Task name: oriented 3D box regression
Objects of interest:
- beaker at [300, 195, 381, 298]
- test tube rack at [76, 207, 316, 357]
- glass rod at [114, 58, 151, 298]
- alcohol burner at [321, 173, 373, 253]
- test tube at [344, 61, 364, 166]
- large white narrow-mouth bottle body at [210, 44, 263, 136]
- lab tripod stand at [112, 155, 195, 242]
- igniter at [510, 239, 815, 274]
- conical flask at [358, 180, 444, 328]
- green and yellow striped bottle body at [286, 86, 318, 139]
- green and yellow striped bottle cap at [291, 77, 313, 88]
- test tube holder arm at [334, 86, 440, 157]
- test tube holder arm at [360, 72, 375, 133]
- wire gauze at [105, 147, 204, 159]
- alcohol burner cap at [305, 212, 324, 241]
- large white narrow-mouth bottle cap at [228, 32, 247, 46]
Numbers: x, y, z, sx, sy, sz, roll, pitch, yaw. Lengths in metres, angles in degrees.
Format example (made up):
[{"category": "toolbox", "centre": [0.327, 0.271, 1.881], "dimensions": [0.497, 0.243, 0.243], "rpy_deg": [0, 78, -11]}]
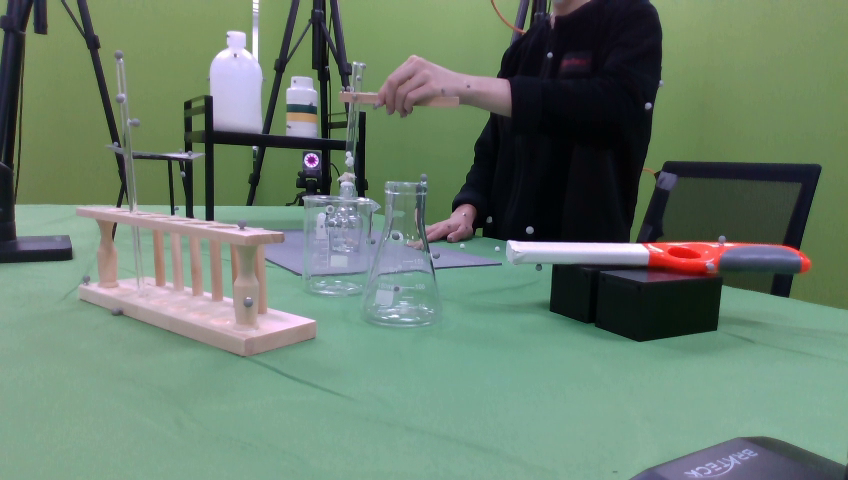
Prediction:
[{"category": "beaker", "centre": [-0.087, 0.006, 0.626], "dimensions": [0.084, 0.100, 0.074], "rpy_deg": [1, 8, -17]}, {"category": "test tube rack", "centre": [-0.196, 0.023, 0.500], "dimensions": [0.241, 0.085, 0.067], "rpy_deg": [8, 9, 36]}, {"category": "glass rod", "centre": [-0.236, -0.044, 0.493], "dimensions": [0.008, 0.199, 0.008], "rpy_deg": [1, 16, 0]}, {"category": "alcohol burner", "centre": [-0.115, -0.041, 0.905], "dimensions": [0.078, 0.119, 0.078], "rpy_deg": [1, 6, 0]}, {"category": "test tube", "centre": [-0.101, -0.179, 0.867], "dimensions": [0.017, 0.150, 0.017], "rpy_deg": [8, 21, -3]}, {"category": "large white narrow-mouth bottle body", "centre": [-0.369, -0.305, 1.194], "dimensions": [0.102, 0.194, 0.102], "rpy_deg": [3, 8, 0]}, {"category": "lab tripod stand", "centre": [-0.405, -0.064, 0.931], "dimensions": [0.148, 0.131, 0.148], "rpy_deg": [1, 6, 0]}, {"category": "igniter", "centre": [0.220, 0.015, 0.565], "dimensions": [0.277, 0.025, 0.057], "rpy_deg": [2, 16, -1]}, {"category": "conical flask", "centre": [-0.017, 0.010, 0.522], "dimensions": [0.075, 0.122, 0.075], "rpy_deg": [3, 7, 0]}, {"category": "green and yellow striped bottle body", "centre": [-0.251, -0.270, 1.245], "dimensions": [0.063, 0.119, 0.063], "rpy_deg": [2, 7, 0]}, {"category": "green and yellow striped bottle cap", "centre": [-0.250, -0.321, 1.237], "dimensions": [0.045, 0.020, 0.045], "rpy_deg": [3, 6, 0]}, {"category": "test tube holder arm", "centre": [-0.049, -0.167, 0.864], "dimensions": [0.179, 0.013, 0.015], "rpy_deg": [28, -30, -27]}, {"category": "test tube holder arm", "centre": [-0.078, -0.192, 0.850], "dimensions": [0.010, 0.087, 0.015], "rpy_deg": [-2, -11, -34]}, {"category": "wire gauze", "centre": [-0.407, -0.131, 0.928], "dimensions": [0.125, 0.011, 0.121], "rpy_deg": [2, 6, -11]}, {"category": "alcohol burner cap", "centre": [-0.185, -0.023, 1.027], "dimensions": [0.034, 0.048, 0.034], "rpy_deg": [2, 6, 0]}, {"category": "large white narrow-mouth bottle cap", "centre": [-0.364, -0.390, 1.180], "dimensions": [0.038, 0.024, 0.037], "rpy_deg": [3, 8, 0]}]
